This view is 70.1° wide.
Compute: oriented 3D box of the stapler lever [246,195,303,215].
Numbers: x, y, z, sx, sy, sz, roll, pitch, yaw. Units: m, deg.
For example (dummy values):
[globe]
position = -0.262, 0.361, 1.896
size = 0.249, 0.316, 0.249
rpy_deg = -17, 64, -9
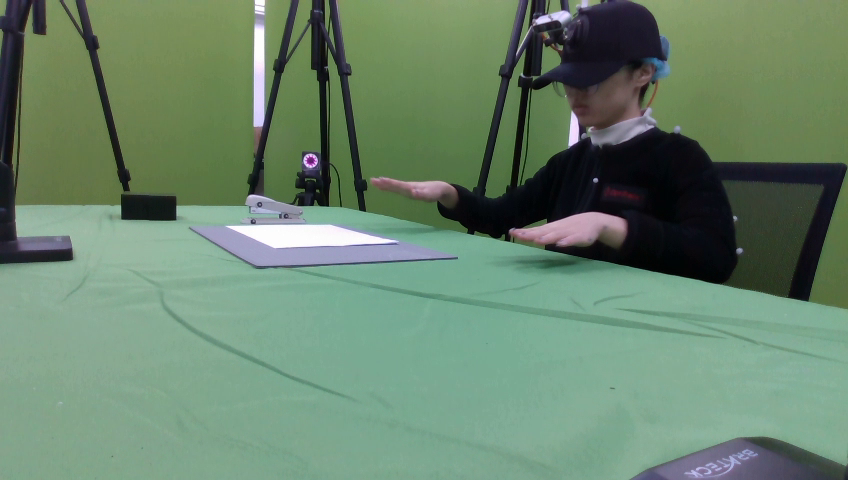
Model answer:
[stapler lever]
position = -0.313, -0.073, 1.270
size = 0.119, 0.040, 0.026
rpy_deg = 0, 10, -31

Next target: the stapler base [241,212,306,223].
[stapler base]
position = -0.316, -0.048, 1.272
size = 0.131, 0.024, 0.041
rpy_deg = 0, 10, -31
